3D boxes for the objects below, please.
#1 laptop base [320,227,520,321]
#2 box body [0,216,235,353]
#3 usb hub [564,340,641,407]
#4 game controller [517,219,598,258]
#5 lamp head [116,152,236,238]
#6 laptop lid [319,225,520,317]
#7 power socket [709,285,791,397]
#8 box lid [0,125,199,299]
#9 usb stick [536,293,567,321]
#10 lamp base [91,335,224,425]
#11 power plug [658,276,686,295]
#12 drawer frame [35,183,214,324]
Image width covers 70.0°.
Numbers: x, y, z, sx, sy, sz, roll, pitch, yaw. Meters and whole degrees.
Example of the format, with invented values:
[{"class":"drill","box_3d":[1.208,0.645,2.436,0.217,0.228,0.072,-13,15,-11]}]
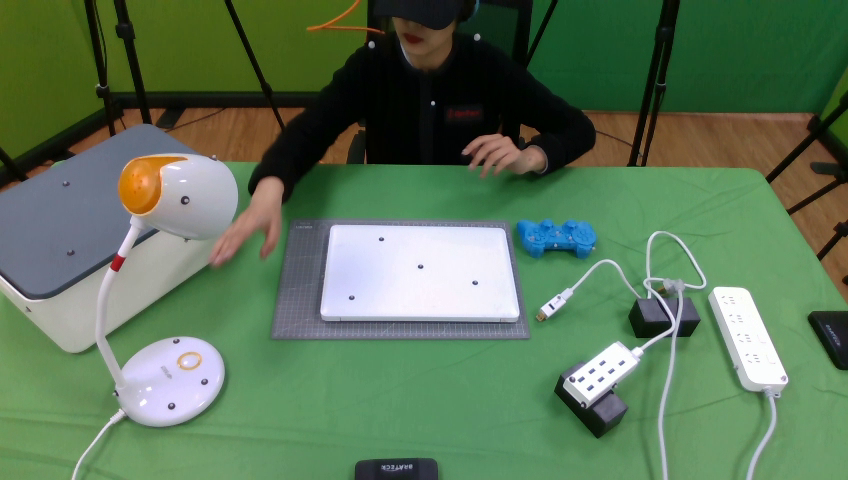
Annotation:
[{"class":"laptop base","box_3d":[-0.009,0.062,1.137,0.354,0.023,0.234,1,42,-3]},{"class":"box body","box_3d":[-0.550,-0.007,1.068,0.253,0.161,0.363,30,51,23]},{"class":"usb hub","box_3d":[0.278,0.205,0.944,0.125,0.025,0.049,-27,52,-28]},{"class":"game controller","box_3d":[0.269,-0.012,1.210,0.155,0.052,0.096,1,50,-2]},{"class":"lamp head","box_3d":[-0.315,-0.057,0.748,0.112,0.112,0.123,26,10,20]},{"class":"laptop lid","box_3d":[-0.008,0.052,1.131,0.357,0.013,0.240,2,44,-2]},{"class":"power socket","box_3d":[0.567,0.167,1.064,0.072,0.033,0.225,2,46,0]},{"class":"box lid","box_3d":[-0.540,-0.068,1.016,0.262,0.015,0.371,30,51,23]},{"class":"usb stick","box_3d":[0.226,0.122,1.083,0.059,0.027,0.021,-38,75,-8]},{"class":"lamp base","box_3d":[-0.401,0.170,0.892,0.160,0.181,0.179,30,53,23]},{"class":"power plug","box_3d":[0.450,0.087,1.113,0.073,0.052,0.035,-12,71,-55]},{"class":"drawer frame","box_3d":[-0.531,0.018,1.092,0.201,0.083,0.213,29,52,21]}]
